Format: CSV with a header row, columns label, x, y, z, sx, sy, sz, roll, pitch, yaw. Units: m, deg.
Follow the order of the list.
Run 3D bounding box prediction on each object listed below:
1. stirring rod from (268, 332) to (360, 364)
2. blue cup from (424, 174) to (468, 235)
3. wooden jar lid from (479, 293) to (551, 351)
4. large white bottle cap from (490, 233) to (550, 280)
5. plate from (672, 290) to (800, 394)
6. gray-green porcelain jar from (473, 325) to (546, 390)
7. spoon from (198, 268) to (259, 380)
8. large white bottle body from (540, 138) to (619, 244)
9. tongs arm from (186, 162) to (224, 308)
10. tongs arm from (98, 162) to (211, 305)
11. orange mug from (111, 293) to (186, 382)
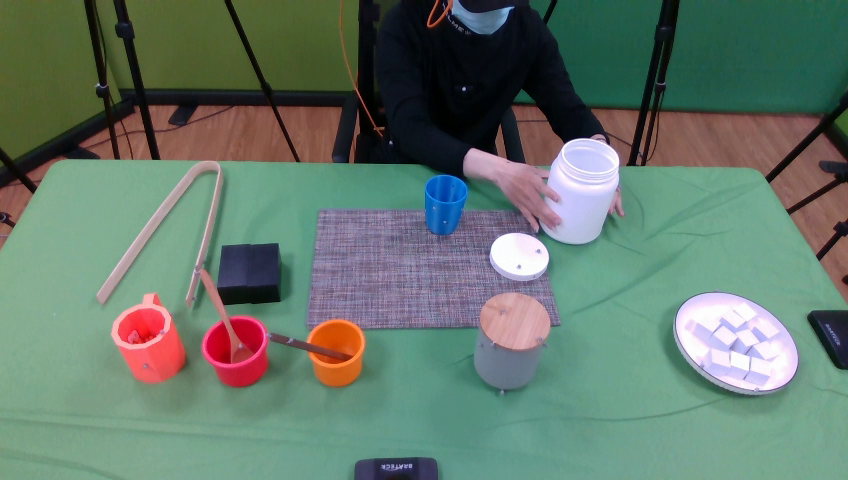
label,x,y,z,sx,sy,sz,roll,pitch,yaw
stirring rod,-0.167,0.169,0.941,0.177,0.006,0.014,26,26,-41
blue cup,0.039,-0.065,1.201,0.093,0.101,0.092,3,47,-3
wooden jar lid,0.137,0.127,0.925,0.108,0.021,0.107,1,47,-1
large white bottle cap,0.186,0.031,1.177,0.115,0.018,0.114,2,45,-1
plate,0.533,0.178,1.050,0.208,0.039,0.206,2,46,-2
gray-green porcelain jar,0.135,0.170,0.969,0.106,0.127,0.105,2,46,-2
spoon,-0.312,0.132,0.962,0.041,0.021,0.194,-24,96,-22
large white bottle body,0.308,-0.096,1.198,0.131,0.185,0.130,2,46,-2
tongs arm,-0.435,-0.025,1.181,0.051,0.027,0.382,-3,45,1
tongs arm,-0.519,-0.027,1.184,0.028,0.028,0.385,4,45,13
orange mug,-0.435,0.149,0.968,0.083,0.101,0.125,-5,51,-8
